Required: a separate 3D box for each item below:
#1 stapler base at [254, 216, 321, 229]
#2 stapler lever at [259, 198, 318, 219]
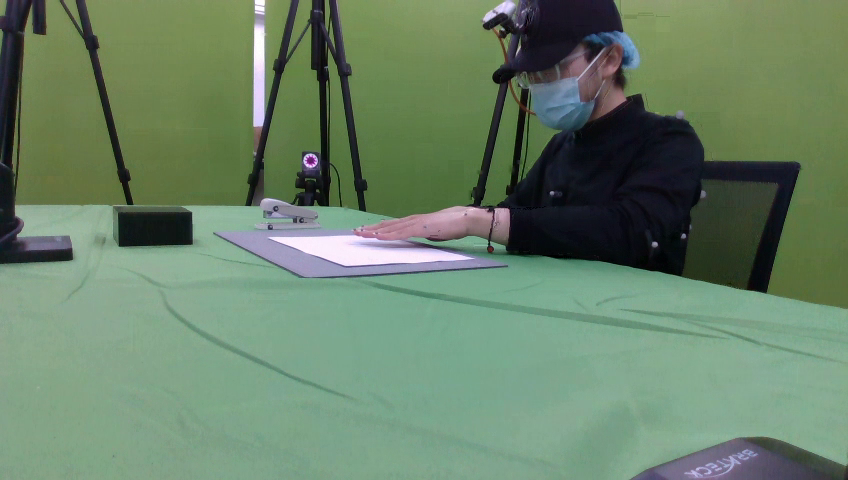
[{"bbox_3d":[-0.269,-0.036,1.197,0.131,0.024,0.041,-1,11,-40],"label":"stapler base"},{"bbox_3d":[-0.267,-0.061,1.195,0.119,0.040,0.026,-1,11,-40],"label":"stapler lever"}]
